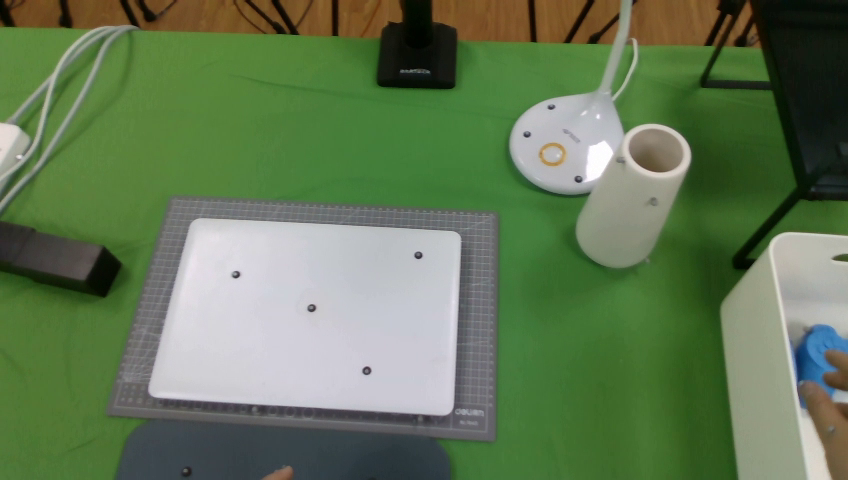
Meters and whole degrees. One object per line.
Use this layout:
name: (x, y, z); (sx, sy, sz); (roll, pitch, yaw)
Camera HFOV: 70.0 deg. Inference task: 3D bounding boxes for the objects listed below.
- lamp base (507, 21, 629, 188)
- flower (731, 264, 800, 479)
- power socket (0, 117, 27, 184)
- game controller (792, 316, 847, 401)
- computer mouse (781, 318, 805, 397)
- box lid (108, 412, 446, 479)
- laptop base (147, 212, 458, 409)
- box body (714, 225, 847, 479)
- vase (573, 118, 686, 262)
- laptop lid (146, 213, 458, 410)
lamp base: (0.202, -0.186, 0.784); (0.159, 0.181, 0.179); (34, 66, 17)
flower: (0.385, 0.200, 0.646); (0.044, 0.038, 0.359); (12, 67, -43)
power socket: (-0.624, -0.077, 0.824); (0.072, 0.033, 0.225); (10, 63, 5)
game controller: (0.495, 0.138, 0.686); (0.155, 0.052, 0.096); (6, 62, 2)
computer mouse: (0.390, 0.124, 0.697); (0.063, 0.041, 0.116); (-1, 55, 4)
box lid: (-0.167, 0.321, 0.632); (0.371, 0.015, 0.261); (3, 64, 2)
laptop base: (-0.139, 0.081, 0.745); (0.354, 0.023, 0.234); (3, 67, 2)
box body: (0.454, 0.188, 0.602); (0.254, 0.161, 0.361); (4, 63, 4)
vase: (0.236, -0.054, 0.706); (0.098, 0.201, 0.097); (-1, 62, 2)
laptop lid: (-0.139, 0.078, 0.734); (0.356, 0.013, 0.240); (4, 66, 3)
